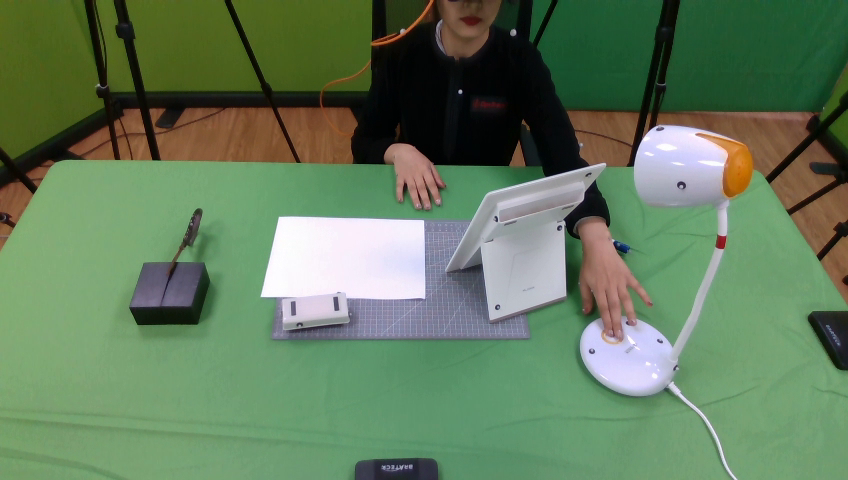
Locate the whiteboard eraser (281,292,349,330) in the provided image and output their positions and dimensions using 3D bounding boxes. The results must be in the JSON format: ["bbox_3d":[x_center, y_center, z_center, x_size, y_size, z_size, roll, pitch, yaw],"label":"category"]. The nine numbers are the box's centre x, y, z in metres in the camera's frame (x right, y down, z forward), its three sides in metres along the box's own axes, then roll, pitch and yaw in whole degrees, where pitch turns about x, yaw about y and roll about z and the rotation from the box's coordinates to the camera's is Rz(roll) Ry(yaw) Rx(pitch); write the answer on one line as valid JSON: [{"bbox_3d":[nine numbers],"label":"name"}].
[{"bbox_3d":[-0.189,0.124,1.045,0.113,0.042,0.055,-6,46,-10],"label":"whiteboard eraser"}]

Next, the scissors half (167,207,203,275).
[{"bbox_3d":[-0.436,0.000,1.104,0.013,0.040,0.174,21,44,-14],"label":"scissors half"}]

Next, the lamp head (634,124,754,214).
[{"bbox_3d":[0.351,-0.089,0.776,0.112,0.113,0.122,-30,30,-28],"label":"lamp head"}]

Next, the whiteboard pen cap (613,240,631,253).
[{"bbox_3d":[0.393,0.012,1.207,0.033,0.018,0.018,27,50,28],"label":"whiteboard pen cap"}]

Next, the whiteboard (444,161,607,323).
[{"bbox_3d":[0.186,0.025,1.029,0.217,0.306,0.143,-14,68,-18],"label":"whiteboard"}]

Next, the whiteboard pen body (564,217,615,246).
[{"bbox_3d":[0.346,-0.013,1.234,0.140,0.017,0.017,28,51,26],"label":"whiteboard pen body"}]

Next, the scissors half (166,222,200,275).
[{"bbox_3d":[-0.444,0.015,1.116,0.013,0.040,0.174,17,27,-11],"label":"scissors half"}]

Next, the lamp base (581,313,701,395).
[{"bbox_3d":[0.361,0.144,0.973,0.178,0.181,0.160,34,53,23],"label":"lamp base"}]
